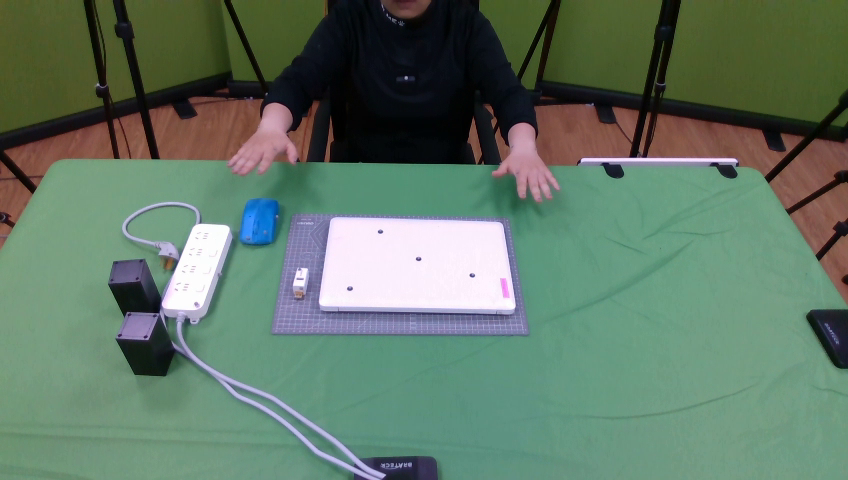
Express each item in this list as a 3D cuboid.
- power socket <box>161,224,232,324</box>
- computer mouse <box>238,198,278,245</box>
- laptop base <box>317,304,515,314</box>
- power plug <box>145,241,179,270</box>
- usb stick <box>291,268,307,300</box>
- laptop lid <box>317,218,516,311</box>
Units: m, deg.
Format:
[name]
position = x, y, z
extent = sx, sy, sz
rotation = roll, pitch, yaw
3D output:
[power socket]
position = -0.412, 0.052, 1.106
extent = 0.072, 0.033, 0.225
rotation = 4, 46, -1
[computer mouse]
position = -0.328, -0.040, 1.200
extent = 0.063, 0.041, 0.116
rotation = 3, 50, -4
[laptop base]
position = -0.014, 0.049, 1.150
extent = 0.354, 0.023, 0.234
rotation = 1, 42, -3
[power plug]
position = -0.489, 0.030, 1.129
extent = 0.072, 0.035, 0.052
rotation = 0, 64, 25
[usb stick]
position = -0.227, 0.081, 1.093
extent = 0.021, 0.027, 0.059
rotation = 5, 47, -3
[laptop lid]
position = -0.013, 0.040, 1.143
extent = 0.357, 0.013, 0.240
rotation = 3, 43, -2
